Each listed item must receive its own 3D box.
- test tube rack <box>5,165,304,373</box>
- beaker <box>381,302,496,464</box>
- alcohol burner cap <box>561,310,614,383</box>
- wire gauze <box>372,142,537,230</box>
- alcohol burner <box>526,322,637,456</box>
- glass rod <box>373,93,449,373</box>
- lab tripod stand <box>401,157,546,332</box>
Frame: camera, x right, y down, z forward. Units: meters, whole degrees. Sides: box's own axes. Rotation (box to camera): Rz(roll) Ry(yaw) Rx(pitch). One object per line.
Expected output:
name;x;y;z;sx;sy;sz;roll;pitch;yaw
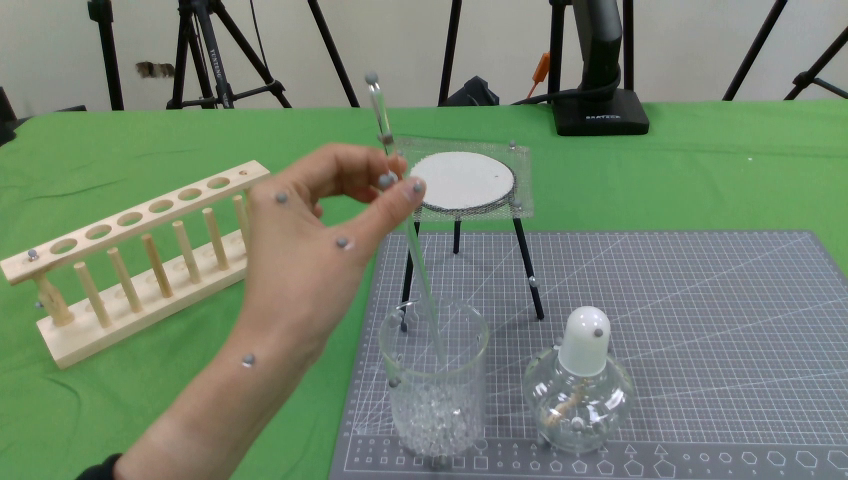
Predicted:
test tube rack;-0.244;0.019;0.583;0.242;0.086;0.066;-29;44;-29
beaker;0.009;0.103;0.434;0.074;0.101;0.083;-30;44;-30
alcohol burner cap;0.110;0.067;0.400;0.034;0.048;0.033;0;39;1
wire gauze;0.028;-0.046;0.489;0.121;0.011;0.124;2;38;6
alcohol burner;0.111;0.096;0.422;0.078;0.120;0.077;-2;40;2
glass rod;-0.004;0.009;0.351;0.008;0.201;0.008;-8;36;6
lab tripod stand;0.041;0.006;0.531;0.148;0.132;0.147;-1;36;1
